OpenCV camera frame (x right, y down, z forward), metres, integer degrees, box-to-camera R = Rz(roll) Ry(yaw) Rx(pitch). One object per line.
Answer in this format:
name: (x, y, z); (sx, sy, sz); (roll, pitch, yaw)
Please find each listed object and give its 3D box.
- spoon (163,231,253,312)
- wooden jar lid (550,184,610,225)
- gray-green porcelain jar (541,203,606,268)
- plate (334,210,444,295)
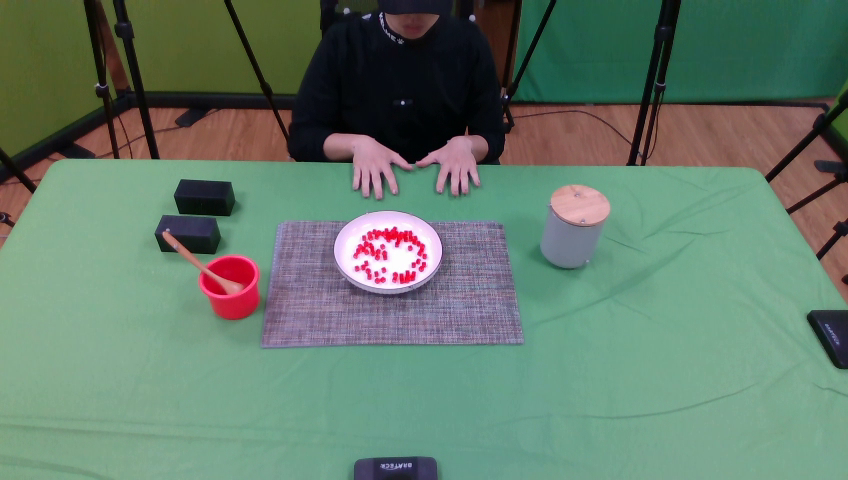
spoon: (-0.364, 0.054, 1.024); (0.194, 0.021, 0.041); (43, 49, -17)
wooden jar lid: (0.286, -0.061, 1.114); (0.108, 0.021, 0.107); (0, 46, 0)
gray-green porcelain jar: (0.283, -0.017, 1.161); (0.106, 0.127, 0.105); (2, 46, -2)
plate: (-0.066, 0.026, 1.150); (0.208, 0.039, 0.206); (2, 46, -2)
